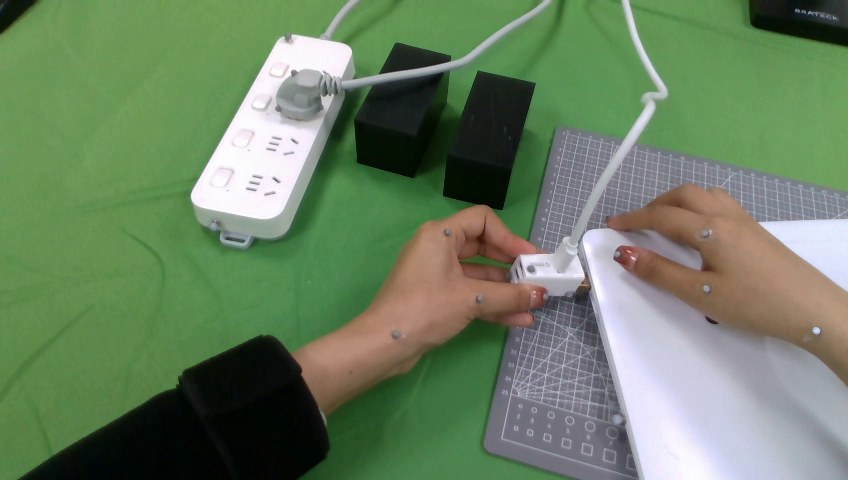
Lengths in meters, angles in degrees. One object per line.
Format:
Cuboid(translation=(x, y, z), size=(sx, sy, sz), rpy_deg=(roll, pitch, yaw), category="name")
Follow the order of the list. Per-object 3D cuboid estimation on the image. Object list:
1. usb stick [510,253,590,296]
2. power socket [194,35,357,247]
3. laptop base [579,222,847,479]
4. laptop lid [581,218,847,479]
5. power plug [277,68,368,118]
Cuboid(translation=(0.092, 0.024, 0.421), size=(0.059, 0.027, 0.021), rpy_deg=(3, 48, -19), category="usb stick")
Cuboid(translation=(-0.116, -0.093, 0.504), size=(0.072, 0.033, 0.225), rpy_deg=(13, 55, 4), category="power socket")
Cuboid(translation=(0.297, 0.088, 0.413), size=(0.355, 0.023, 0.233), rpy_deg=(-2, 59, -5), category="laptop base")
Cuboid(translation=(0.298, 0.083, 0.402), size=(0.357, 0.013, 0.239), rpy_deg=(-1, 58, -4), category="laptop lid")
Cuboid(translation=(-0.084, -0.108, 0.488), size=(0.072, 0.053, 0.035), rpy_deg=(21, 57, 11), category="power plug")
